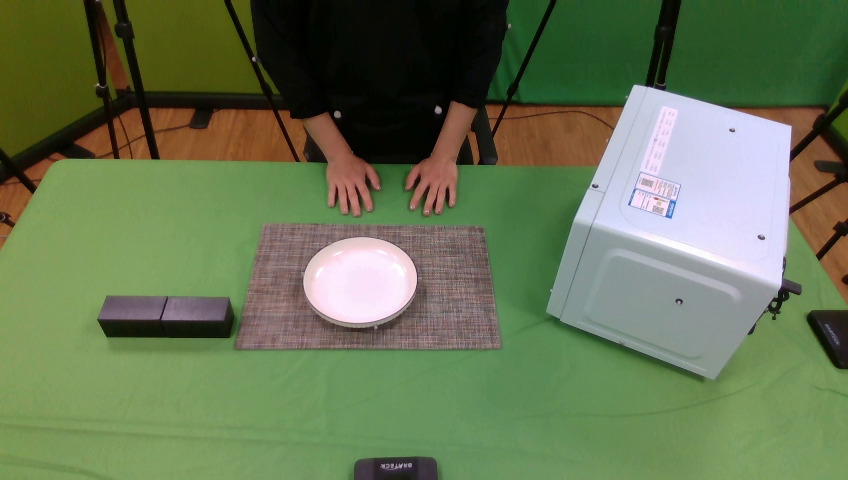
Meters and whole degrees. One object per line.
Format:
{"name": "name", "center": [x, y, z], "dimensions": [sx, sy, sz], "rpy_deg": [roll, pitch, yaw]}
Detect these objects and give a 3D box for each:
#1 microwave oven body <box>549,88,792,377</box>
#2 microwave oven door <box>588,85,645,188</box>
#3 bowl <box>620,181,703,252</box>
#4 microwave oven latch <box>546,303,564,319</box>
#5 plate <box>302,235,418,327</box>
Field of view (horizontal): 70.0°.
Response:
{"name": "microwave oven body", "center": [0.456, -0.028, 1.088], "dimensions": [0.325, 0.261, 0.440], "rpy_deg": [20, 47, 16]}
{"name": "microwave oven door", "center": [0.342, -0.107, 1.149], "dimensions": [0.039, 0.245, 0.354], "rpy_deg": [20, 48, 15]}
{"name": "bowl", "center": [0.433, -0.031, 1.140], "dimensions": [0.151, 0.077, 0.150], "rpy_deg": [4, 49, -4]}
{"name": "microwave oven latch", "center": [0.242, 0.102, 1.081], "dimensions": [0.030, 0.029, 0.079], "rpy_deg": [21, 48, 17]}
{"name": "plate", "center": [-0.114, 0.077, 1.098], "dimensions": [0.208, 0.039, 0.206], "rpy_deg": [2, 46, -2]}
